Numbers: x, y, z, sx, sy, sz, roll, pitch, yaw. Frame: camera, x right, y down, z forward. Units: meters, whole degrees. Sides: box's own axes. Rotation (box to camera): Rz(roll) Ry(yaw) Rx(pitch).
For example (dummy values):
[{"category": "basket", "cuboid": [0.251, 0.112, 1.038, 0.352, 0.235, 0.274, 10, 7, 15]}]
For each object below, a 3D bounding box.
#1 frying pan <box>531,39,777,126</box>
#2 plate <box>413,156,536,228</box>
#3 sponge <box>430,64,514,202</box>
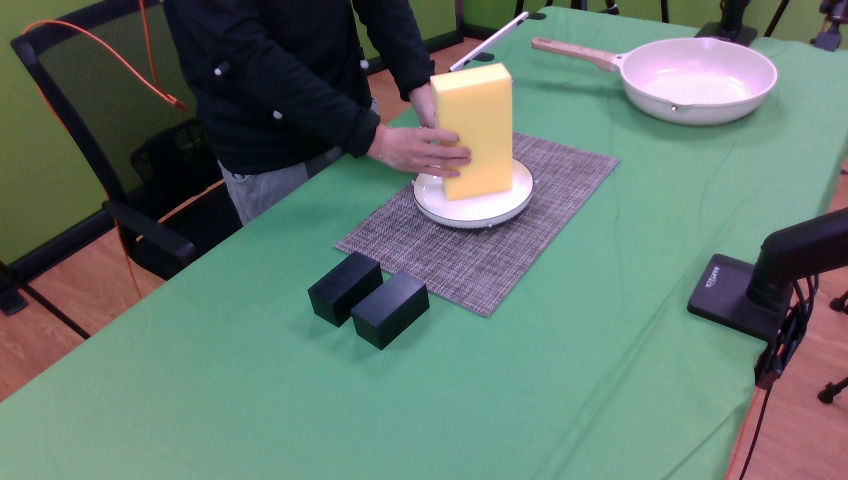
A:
[{"category": "frying pan", "cuboid": [0.452, -0.354, 1.254, 0.485, 0.103, 0.307, 22, 47, 19]}, {"category": "plate", "cuboid": [0.086, -0.085, 1.038, 0.207, 0.039, 0.206, -4, 41, 4]}, {"category": "sponge", "cuboid": [0.082, -0.173, 0.998, 0.118, 0.208, 0.060, -12, 40, -5]}]
